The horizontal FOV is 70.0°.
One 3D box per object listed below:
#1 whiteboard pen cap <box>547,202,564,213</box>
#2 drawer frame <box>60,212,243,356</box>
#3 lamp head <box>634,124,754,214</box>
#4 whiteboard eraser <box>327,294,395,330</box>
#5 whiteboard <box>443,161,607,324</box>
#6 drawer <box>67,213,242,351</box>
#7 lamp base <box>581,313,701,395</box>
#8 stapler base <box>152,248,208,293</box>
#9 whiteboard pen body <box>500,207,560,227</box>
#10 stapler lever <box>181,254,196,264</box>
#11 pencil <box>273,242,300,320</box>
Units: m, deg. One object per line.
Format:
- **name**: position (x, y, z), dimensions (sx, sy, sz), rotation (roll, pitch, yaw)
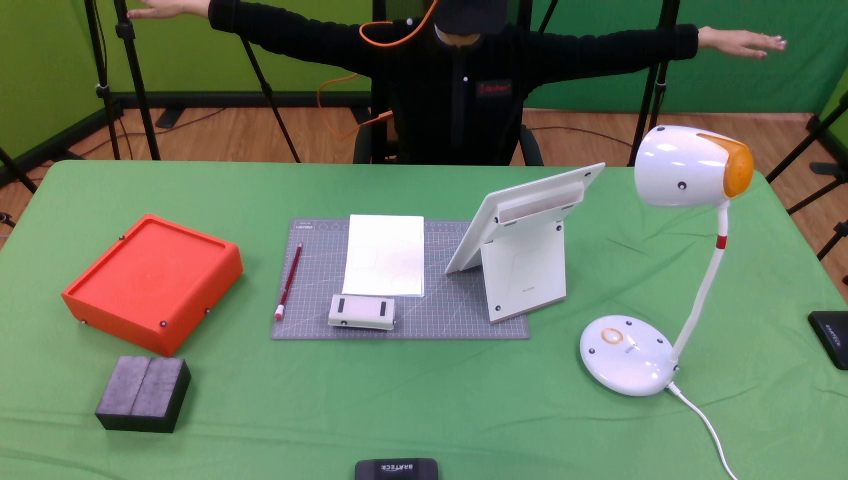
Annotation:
- **whiteboard pen cap**: position (0.277, -0.066, 1.275), dimensions (0.033, 0.018, 0.018), rotation (-18, 50, -15)
- **drawer frame**: position (-0.462, 0.070, 1.053), dimensions (0.201, 0.083, 0.213), rotation (18, 48, 12)
- **lamp head**: position (0.351, -0.089, 0.775), dimensions (0.112, 0.113, 0.122), rotation (-30, 30, -28)
- **whiteboard eraser**: position (-0.109, 0.127, 1.049), dimensions (0.113, 0.042, 0.055), rotation (4, 45, -1)
- **whiteboard**: position (0.185, 0.026, 1.028), dimensions (0.217, 0.306, 0.143), rotation (-15, 68, -18)
- **drawer**: position (-0.461, 0.068, 1.057), dimensions (0.194, 0.073, 0.211), rotation (19, 48, 13)
- **lamp base**: position (0.361, 0.144, 0.973), dimensions (0.178, 0.181, 0.160), rotation (34, 53, 23)
- **stapler base**: position (-0.443, 0.049, 1.101), dimensions (0.130, 0.024, 0.041), rotation (33, 38, 28)
- **whiteboard pen body**: position (0.222, -0.051, 1.259), dimensions (0.141, 0.017, 0.017), rotation (-15, 49, -16)
- **stapler lever**: position (-0.440, 0.026, 1.086), dimensions (0.117, 0.040, 0.027), rotation (31, 37, 30)
- **pencil**: position (-0.249, 0.070, 1.115), dimensions (0.012, 0.012, 0.193), rotation (5, 44, 1)
